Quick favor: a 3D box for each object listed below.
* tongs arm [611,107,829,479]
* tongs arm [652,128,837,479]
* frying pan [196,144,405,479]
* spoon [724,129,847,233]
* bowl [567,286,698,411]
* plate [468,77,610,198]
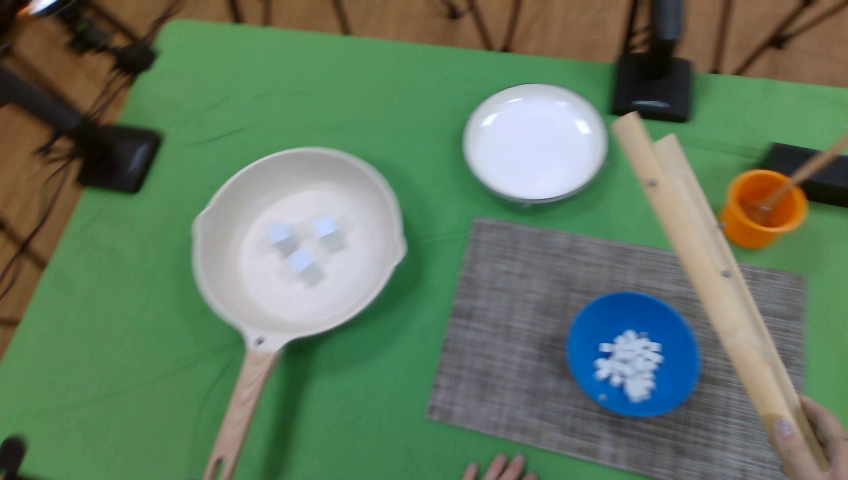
[{"bbox_3d":[0.268,0.053,0.551,0.028,0.028,0.386,-28,82,27],"label":"tongs arm"},{"bbox_3d":[0.312,0.053,0.610,0.026,0.051,0.382,-28,71,31],"label":"tongs arm"},{"bbox_3d":[-0.196,0.088,0.816,0.306,0.103,0.484,9,60,11],"label":"frying pan"},{"bbox_3d":[0.474,-0.077,0.782,0.022,0.194,0.041,0,52,-42],"label":"spoon"},{"bbox_3d":[0.249,0.140,0.750,0.151,0.077,0.150,-2,67,6],"label":"bowl"},{"bbox_3d":[0.171,-0.151,0.911,0.207,0.039,0.206,-3,67,6],"label":"plate"}]
